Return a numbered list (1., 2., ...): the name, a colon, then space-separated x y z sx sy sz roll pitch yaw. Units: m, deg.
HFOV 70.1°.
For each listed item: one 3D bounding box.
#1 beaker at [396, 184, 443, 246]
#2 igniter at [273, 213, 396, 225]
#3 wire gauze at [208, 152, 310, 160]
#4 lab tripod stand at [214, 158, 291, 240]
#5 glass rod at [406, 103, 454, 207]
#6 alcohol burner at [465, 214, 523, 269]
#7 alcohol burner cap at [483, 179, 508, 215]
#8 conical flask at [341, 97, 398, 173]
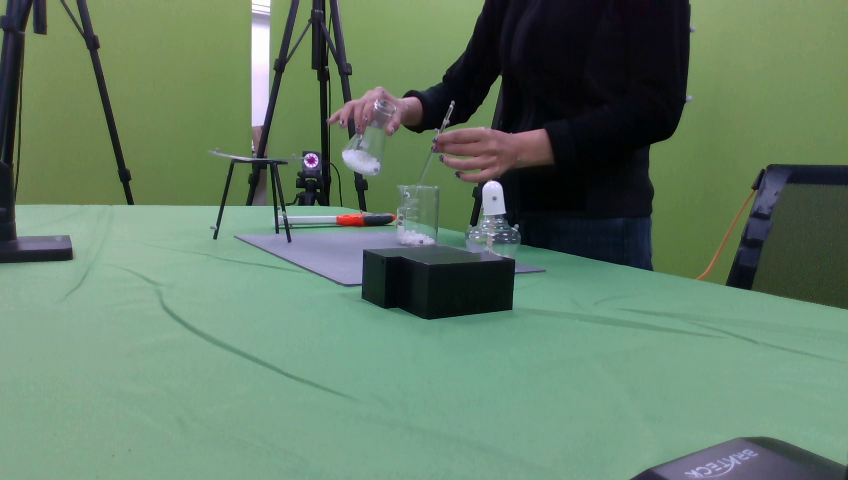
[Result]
1. beaker: -0.011 -0.043 1.004 0.083 0.100 0.074 8 9 39
2. igniter: -0.178 -0.044 1.258 0.278 0.025 0.057 -3 -1 -39
3. wire gauze: -0.270 -0.135 0.993 0.124 0.011 0.122 9 8 41
4. lab tripod stand: -0.268 -0.068 1.002 0.148 0.131 0.148 3 6 0
5. glass rod: 0.008 -0.133 0.976 0.008 0.199 0.008 17 34 -12
6. alcohol burner: 0.094 -0.022 0.815 0.078 0.119 0.078 0 7 0
7. alcohol burner cap: 0.094 -0.057 0.810 0.034 0.048 0.034 -7 6 1
8. conical flask: -0.085 -0.178 1.011 0.075 0.121 0.075 22 33 -15
